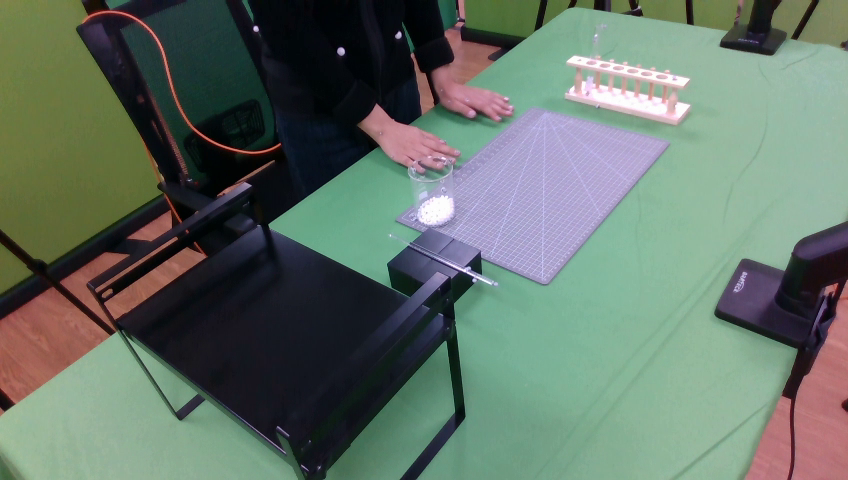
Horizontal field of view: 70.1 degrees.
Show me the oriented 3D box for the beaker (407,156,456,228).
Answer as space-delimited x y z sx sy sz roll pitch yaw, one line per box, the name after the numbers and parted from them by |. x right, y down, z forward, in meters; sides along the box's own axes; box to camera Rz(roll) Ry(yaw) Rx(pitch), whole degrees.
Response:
0.016 -0.079 1.002 0.073 0.101 0.084 26 49 33 | beaker

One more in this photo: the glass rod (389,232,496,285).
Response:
0.022 0.025 0.878 0.198 0.008 0.008 25 50 33 | glass rod

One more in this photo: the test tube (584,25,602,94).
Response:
0.341 -0.362 1.224 0.017 0.151 0.017 -2 47 2 | test tube

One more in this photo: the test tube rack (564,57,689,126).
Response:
0.411 -0.311 1.230 0.240 0.085 0.067 23 49 31 | test tube rack
